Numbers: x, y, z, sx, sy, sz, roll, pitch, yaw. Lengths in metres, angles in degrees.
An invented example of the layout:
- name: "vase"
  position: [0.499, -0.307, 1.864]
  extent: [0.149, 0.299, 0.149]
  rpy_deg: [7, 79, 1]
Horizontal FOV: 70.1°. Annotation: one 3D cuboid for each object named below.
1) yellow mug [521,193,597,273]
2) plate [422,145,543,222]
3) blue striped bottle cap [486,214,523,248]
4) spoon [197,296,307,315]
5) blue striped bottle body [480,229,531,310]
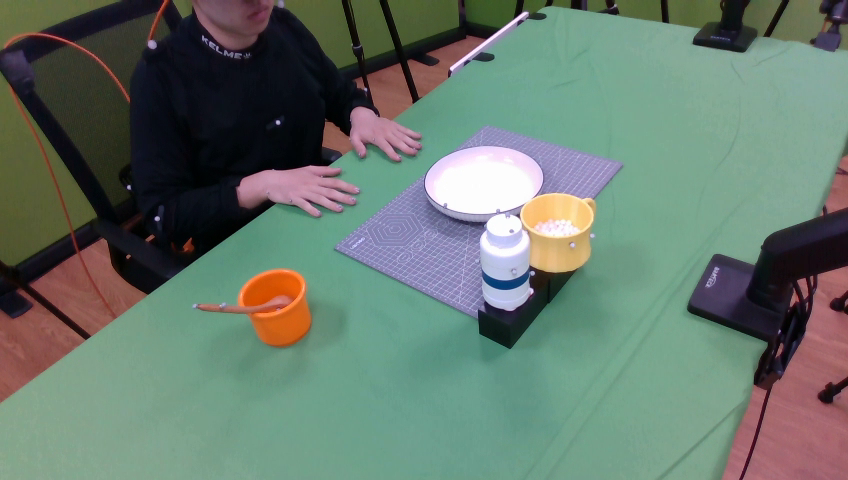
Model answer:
- name: "yellow mug"
  position: [0.198, -0.019, 0.852]
  extent: [0.131, 0.064, 0.099]
  rpy_deg: [-30, 46, -25]
- name: "plate"
  position: [0.101, -0.094, 1.048]
  extent: [0.207, 0.039, 0.206]
  rpy_deg: [-4, 41, 4]
- name: "blue striped bottle cap"
  position: [0.098, -0.011, 0.735]
  extent: [0.044, 0.021, 0.044]
  rpy_deg: [-3, 38, 3]
- name: "spoon"
  position: [-0.220, 0.089, 0.793]
  extent: [0.041, 0.021, 0.195]
  rpy_deg: [19, 7, 25]
- name: "blue striped bottle body"
  position: [0.104, 0.027, 0.769]
  extent: [0.063, 0.121, 0.063]
  rpy_deg: [-4, 40, 4]
